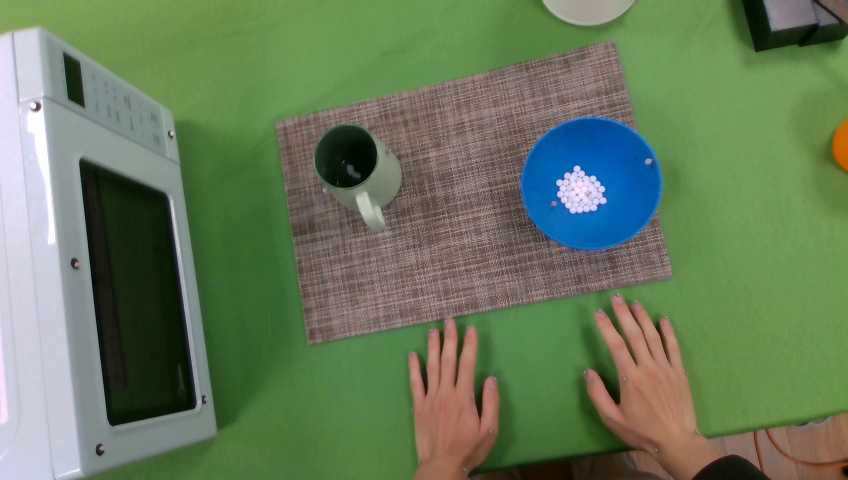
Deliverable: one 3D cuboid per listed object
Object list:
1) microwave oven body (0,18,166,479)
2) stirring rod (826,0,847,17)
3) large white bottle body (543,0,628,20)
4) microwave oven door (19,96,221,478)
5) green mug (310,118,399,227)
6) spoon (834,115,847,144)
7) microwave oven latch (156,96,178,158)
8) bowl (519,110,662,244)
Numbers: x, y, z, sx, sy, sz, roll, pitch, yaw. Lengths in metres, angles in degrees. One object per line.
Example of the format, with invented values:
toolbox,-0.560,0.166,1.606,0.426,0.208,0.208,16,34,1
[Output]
microwave oven body,-0.470,0.044,0.690,0.326,0.261,0.440,-13,81,6
stirring rod,0.445,-0.277,0.672,0.175,0.006,0.014,46,125,11
large white bottle body,0.192,-0.351,0.683,0.130,0.185,0.130,-1,82,9
microwave oven door,-0.321,0.051,0.661,0.039,0.245,0.354,-13,80,7
green mug,-0.077,-0.076,0.725,0.092,0.105,0.125,-20,80,5
spoon,0.528,-0.112,0.619,0.022,0.192,0.041,32,82,-32
microwave oven latch,-0.347,-0.146,0.795,0.030,0.029,0.079,-13,81,6
bowl,0.185,-0.064,0.697,0.151,0.077,0.151,-1,82,9
